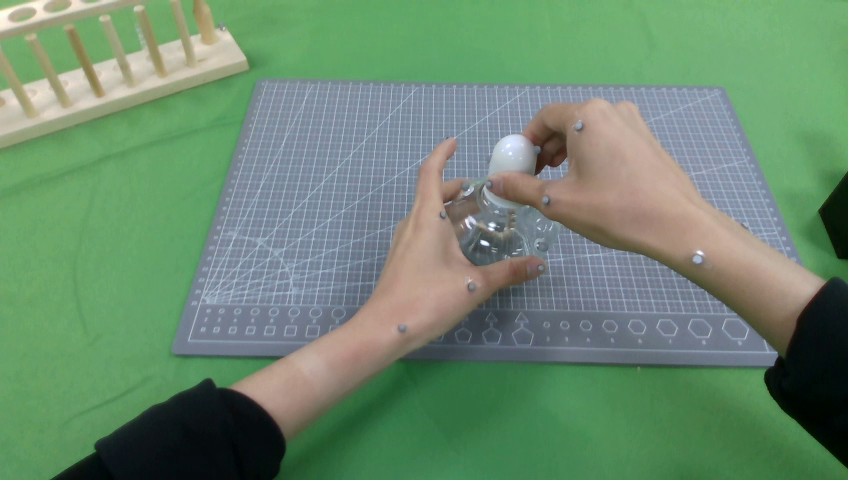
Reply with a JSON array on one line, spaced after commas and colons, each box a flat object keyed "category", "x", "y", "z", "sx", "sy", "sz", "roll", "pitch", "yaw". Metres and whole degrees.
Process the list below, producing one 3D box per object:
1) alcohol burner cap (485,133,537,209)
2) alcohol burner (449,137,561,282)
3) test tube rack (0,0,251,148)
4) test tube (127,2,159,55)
[{"category": "alcohol burner cap", "x": 0.056, "y": -0.046, "z": 0.383, "sx": 0.034, "sy": 0.048, "sz": 0.033, "roll": 0, "pitch": 51, "yaw": 0}, {"category": "alcohol burner", "x": 0.057, "y": -0.025, "z": 0.407, "sx": 0.078, "sy": 0.120, "sz": 0.077, "roll": 1, "pitch": 53, "yaw": -1}, {"category": "test tube rack", "x": -0.292, "y": -0.170, "z": 0.547, "sx": 0.242, "sy": 0.086, "sz": 0.066, "roll": -24, "pitch": 55, "yaw": -18}, {"category": "test tube", "x": -0.264, "y": -0.235, "z": 0.531, "sx": 0.017, "sy": 0.151, "sz": 0.017, "roll": -2, "pitch": 43, "yaw": 2}]
